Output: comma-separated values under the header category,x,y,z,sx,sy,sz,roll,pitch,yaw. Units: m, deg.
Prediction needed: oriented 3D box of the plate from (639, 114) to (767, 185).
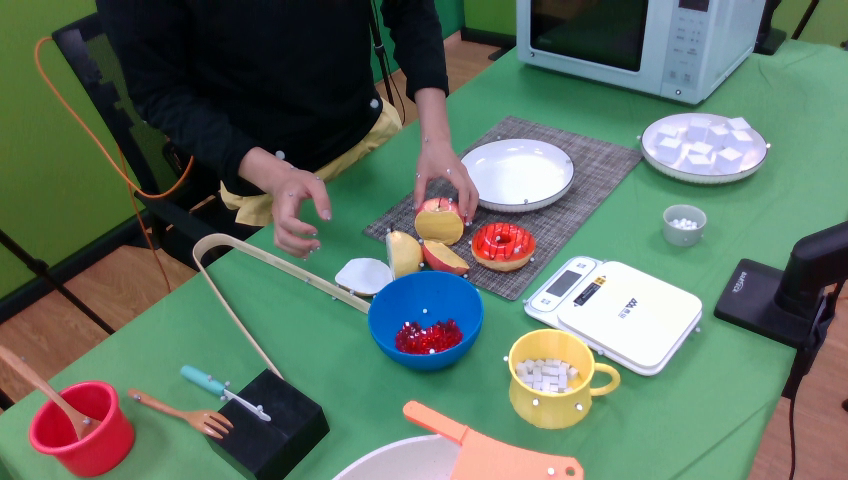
category,x,y,z,sx,sy,sz,roll,pitch,yaw
plate,0.489,-0.157,1.074,0.207,0.039,0.206,-4,40,4

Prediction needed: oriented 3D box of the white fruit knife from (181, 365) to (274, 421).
category,x,y,z,sx,sy,sz,roll,pitch,yaw
white fruit knife,-0.245,0.187,0.747,0.205,0.027,0.016,9,41,40

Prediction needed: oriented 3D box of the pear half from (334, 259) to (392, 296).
category,x,y,z,sx,sy,sz,roll,pitch,yaw
pear half,-0.093,0.062,0.906,0.088,0.031,0.070,-9,41,-24

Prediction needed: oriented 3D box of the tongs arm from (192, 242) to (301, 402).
category,x,y,z,sx,sy,sz,roll,pitch,yaw
tongs arm,-0.269,0.106,0.882,0.028,0.028,0.384,-34,46,-19

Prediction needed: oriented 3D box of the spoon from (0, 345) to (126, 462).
category,x,y,z,sx,sy,sz,roll,pitch,yaw
spoon,-0.434,0.192,0.720,0.194,0.021,0.042,47,53,-7

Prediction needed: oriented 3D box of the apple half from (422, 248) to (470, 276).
category,x,y,z,sx,sy,sz,roll,pitch,yaw
apple half,0.024,0.039,0.911,0.081,0.033,0.081,21,3,-1

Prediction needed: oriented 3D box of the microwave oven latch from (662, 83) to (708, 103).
category,x,y,z,sx,sy,sz,roll,pitch,yaw
microwave oven latch,0.517,-0.296,1.204,0.078,0.029,0.030,27,52,35

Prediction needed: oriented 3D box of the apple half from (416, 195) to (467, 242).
category,x,y,z,sx,sy,sz,roll,pitch,yaw
apple half,0.033,-0.038,0.969,0.080,0.075,0.053,0,46,22

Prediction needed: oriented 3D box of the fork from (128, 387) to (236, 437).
category,x,y,z,sx,sy,sz,roll,pitch,yaw
fork,-0.305,0.208,0.744,0.206,0.019,0.028,3,40,36

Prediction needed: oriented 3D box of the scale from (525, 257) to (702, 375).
category,x,y,z,sx,sy,sz,roll,pitch,yaw
scale,0.254,0.091,0.821,0.199,0.032,0.149,28,51,35

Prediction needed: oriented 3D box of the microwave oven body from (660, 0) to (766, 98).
category,x,y,z,sx,sy,sz,roll,pitch,yaw
microwave oven body,0.472,-0.513,1.317,0.438,0.261,0.327,26,51,34

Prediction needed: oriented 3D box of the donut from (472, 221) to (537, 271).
category,x,y,z,sx,sy,sz,roll,pitch,yaw
donut,0.123,0.008,0.923,0.099,0.048,0.098,-3,38,3

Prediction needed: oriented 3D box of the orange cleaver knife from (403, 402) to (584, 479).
category,x,y,z,sx,sy,sz,roll,pitch,yaw
orange cleaver knife,0.062,0.222,0.609,0.210,0.012,0.077,15,49,25

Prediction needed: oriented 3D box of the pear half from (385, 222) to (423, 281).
category,x,y,z,sx,sy,sz,roll,pitch,yaw
pear half,-0.029,0.013,0.896,0.056,0.110,0.075,-17,45,-11

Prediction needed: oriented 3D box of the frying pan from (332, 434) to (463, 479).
category,x,y,z,sx,sy,sz,roll,pitch,yaw
frying pan,-0.089,0.306,0.564,0.487,0.103,0.306,10,41,7

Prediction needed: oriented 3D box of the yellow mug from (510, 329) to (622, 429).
category,x,y,z,sx,sy,sz,roll,pitch,yaw
yellow mug,0.168,0.164,0.721,0.130,0.064,0.099,0,40,8

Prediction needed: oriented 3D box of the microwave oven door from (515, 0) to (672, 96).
category,x,y,z,sx,sy,sz,roll,pitch,yaw
microwave oven door,0.343,-0.454,1.259,0.353,0.245,0.039,26,51,33

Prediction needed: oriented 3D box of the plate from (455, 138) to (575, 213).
category,x,y,z,sx,sy,sz,roll,pitch,yaw
plate,0.159,-0.111,1.063,0.209,0.038,0.208,-4,40,4

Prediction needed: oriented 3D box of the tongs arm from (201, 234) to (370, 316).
category,x,y,z,sx,sy,sz,roll,pitch,yaw
tongs arm,-0.209,0.061,0.924,0.381,0.026,0.051,23,52,33

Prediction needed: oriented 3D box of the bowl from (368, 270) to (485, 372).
category,x,y,z,sx,sy,sz,roll,pitch,yaw
bowl,0.007,0.118,0.791,0.151,0.077,0.150,-5,40,4

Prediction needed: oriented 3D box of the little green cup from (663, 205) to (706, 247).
category,x,y,z,sx,sy,sz,roll,pitch,yaw
little green cup,0.396,-0.020,0.926,0.061,0.039,0.061,-4,40,4
